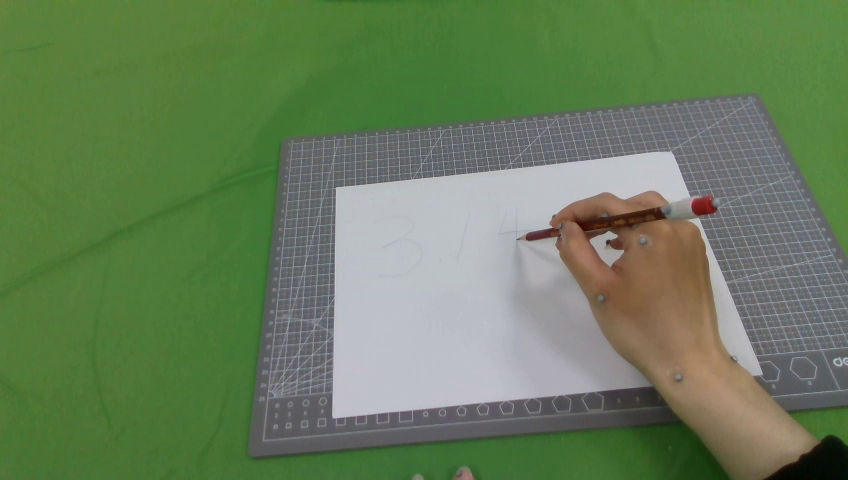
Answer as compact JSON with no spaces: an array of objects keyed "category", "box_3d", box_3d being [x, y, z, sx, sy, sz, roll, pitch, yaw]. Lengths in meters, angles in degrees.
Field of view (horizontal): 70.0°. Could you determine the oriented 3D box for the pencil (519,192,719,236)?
[{"category":"pencil","box_3d":[0.113,-0.013,0.401,0.012,0.193,0.012,2,85,-22]}]
